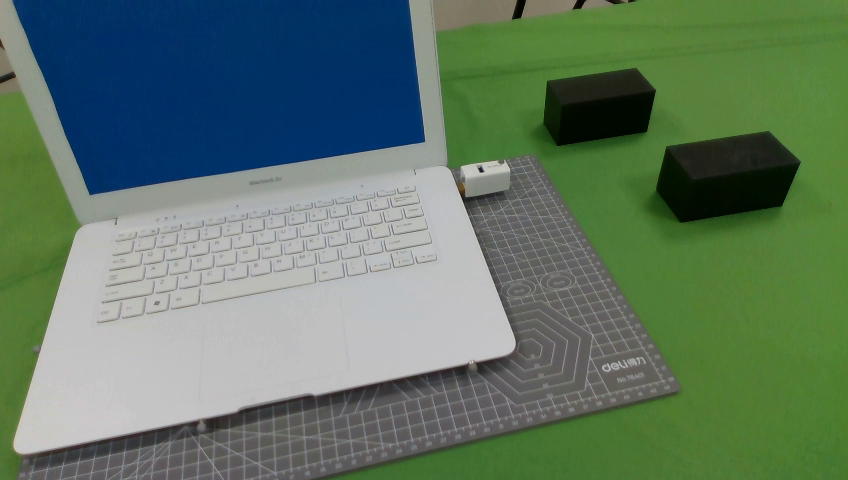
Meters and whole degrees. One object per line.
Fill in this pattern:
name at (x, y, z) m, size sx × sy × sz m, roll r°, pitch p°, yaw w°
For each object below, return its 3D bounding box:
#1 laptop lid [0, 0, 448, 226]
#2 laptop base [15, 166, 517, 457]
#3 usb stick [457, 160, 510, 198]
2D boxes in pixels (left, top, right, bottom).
laptop lid at (-0.160, -0.142, 0.532) m, size 0.357 × 0.243 × 0.013 m, roll -12°, pitch 29°, yaw -6°
laptop base at (-0.124, 0.040, 0.506) m, size 0.355 × 0.023 × 0.233 m, roll -10°, pitch 47°, yaw -6°
usb stick at (0.051, -0.057, 0.577) m, size 0.059 × 0.027 × 0.021 m, roll -12°, pitch 44°, yaw -5°
